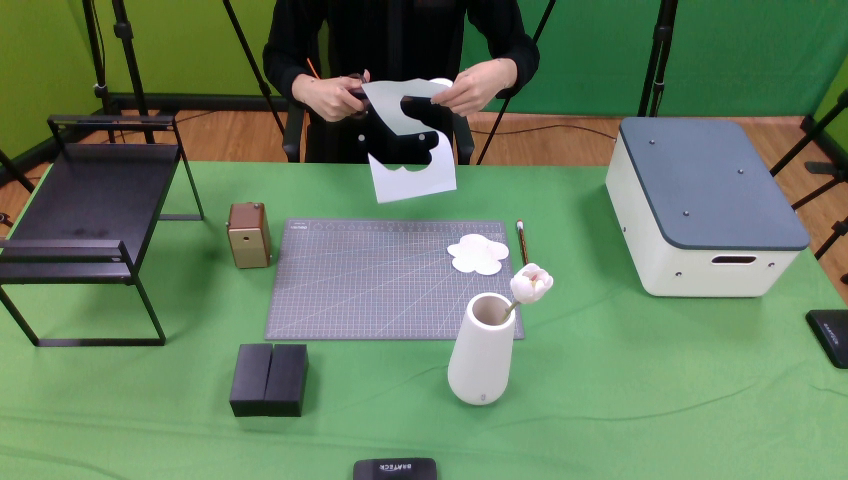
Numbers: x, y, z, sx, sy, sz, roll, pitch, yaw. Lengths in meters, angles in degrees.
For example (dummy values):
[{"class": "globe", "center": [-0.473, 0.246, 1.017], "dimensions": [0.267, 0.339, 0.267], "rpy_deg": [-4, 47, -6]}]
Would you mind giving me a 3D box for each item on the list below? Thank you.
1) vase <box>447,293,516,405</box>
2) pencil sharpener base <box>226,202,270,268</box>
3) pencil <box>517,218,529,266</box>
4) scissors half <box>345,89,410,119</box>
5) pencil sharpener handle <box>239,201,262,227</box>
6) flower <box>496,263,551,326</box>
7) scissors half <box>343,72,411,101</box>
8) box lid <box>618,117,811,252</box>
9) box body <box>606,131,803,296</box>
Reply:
[{"class": "vase", "center": [0.091, 0.169, 0.921], "dimensions": [0.098, 0.201, 0.097], "rpy_deg": [3, 47, -3]}, {"class": "pencil sharpener base", "center": [-0.323, -0.010, 1.123], "dimensions": [0.061, 0.107, 0.076], "rpy_deg": [-3, 46, -7]}, {"class": "pencil", "center": [0.200, 0.027, 1.196], "dimensions": [0.012, 0.012, 0.193], "rpy_deg": [1, 48, -3]}, {"class": "scissors half", "center": [-0.085, -0.251, 1.097], "dimensions": [0.175, 0.040, 0.013], "rpy_deg": [-5, 8, 46]}, {"class": "pencil sharpener handle", "center": [-0.325, -0.055, 1.150], "dimensions": [0.036, 0.068, 0.030], "rpy_deg": [-13, 46, 3]}, {"class": "flower", "center": [0.102, 0.120, 0.853], "dimensions": [0.044, 0.363, 0.038], "rpy_deg": [-2, 64, -10]}, {"class": "scissors half", "center": [-0.087, -0.272, 1.091], "dimensions": [0.174, 0.040, 0.013], "rpy_deg": [25, 34, 36]}, {"class": "box lid", "center": [0.534, -0.117, 1.149], "dimensions": [0.263, 0.015, 0.369], "rpy_deg": [0, 47, -3]}, {"class": "box body", "center": [0.530, -0.067, 1.204], "dimensions": [0.254, 0.161, 0.361], "rpy_deg": [0, 46, -4]}]
